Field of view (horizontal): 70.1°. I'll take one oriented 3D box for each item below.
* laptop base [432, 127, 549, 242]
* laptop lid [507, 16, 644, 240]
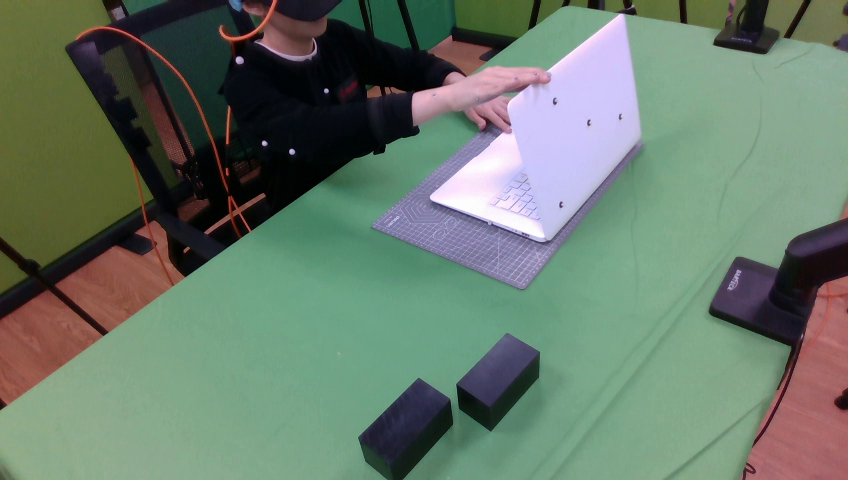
[{"bbox_3d":[0.208,-0.128,1.098,0.233,0.023,0.355,20,47,34],"label":"laptop base"},{"bbox_3d":[0.263,-0.189,0.978,0.013,0.243,0.358,7,38,44],"label":"laptop lid"}]
